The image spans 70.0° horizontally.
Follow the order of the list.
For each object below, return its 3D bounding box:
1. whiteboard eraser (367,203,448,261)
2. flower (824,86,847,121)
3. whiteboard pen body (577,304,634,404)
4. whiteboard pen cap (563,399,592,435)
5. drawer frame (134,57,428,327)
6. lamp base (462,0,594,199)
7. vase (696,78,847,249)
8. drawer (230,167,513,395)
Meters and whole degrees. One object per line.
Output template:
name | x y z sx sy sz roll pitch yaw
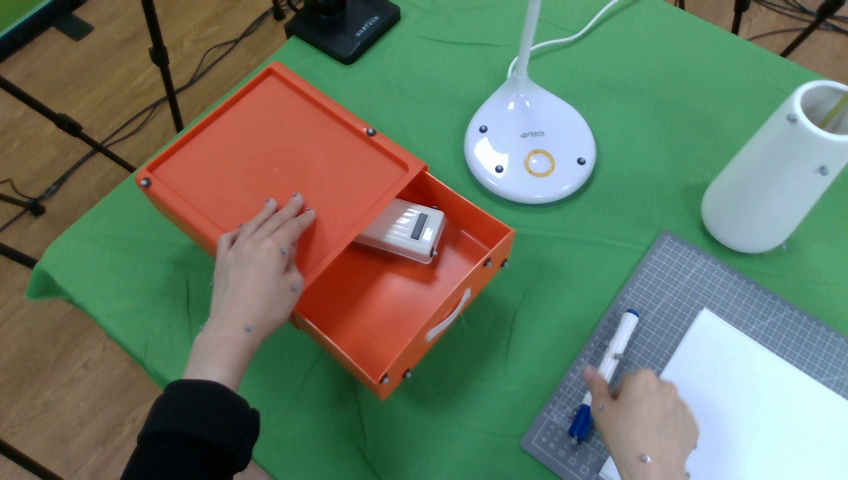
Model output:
whiteboard eraser | -0.029 -0.010 0.643 0.112 0.042 0.055 7 68 37
flower | 0.370 -0.119 0.546 0.038 0.364 0.044 22 47 4
whiteboard pen body | 0.179 0.125 0.610 0.017 0.017 0.140 27 68 14
whiteboard pen cap | 0.150 0.171 0.589 0.018 0.018 0.033 29 68 15
drawer frame | -0.140 -0.054 0.624 0.212 0.083 0.201 37 70 15
lamp base | 0.120 -0.165 0.675 0.161 0.182 0.177 -17 61 -8
vase | 0.355 -0.071 0.615 0.098 0.201 0.097 -1 61 2
drawer | -0.055 0.008 0.593 0.210 0.074 0.194 37 69 18
